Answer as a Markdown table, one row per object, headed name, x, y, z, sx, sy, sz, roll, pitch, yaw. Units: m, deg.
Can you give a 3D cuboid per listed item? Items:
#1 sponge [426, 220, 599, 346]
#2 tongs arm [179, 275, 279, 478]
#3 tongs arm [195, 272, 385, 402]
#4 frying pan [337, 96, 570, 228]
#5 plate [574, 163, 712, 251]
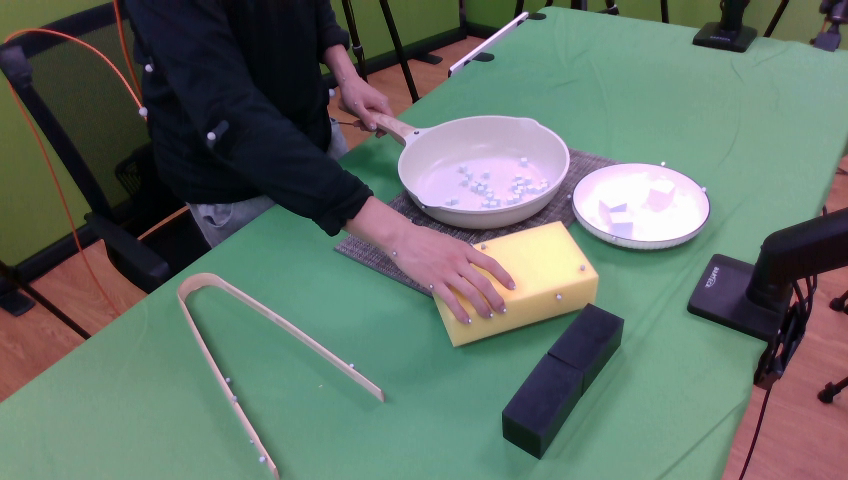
| name | x | y | z | sx | sy | sz | roll | pitch | yaw |
| --- | --- | --- | --- | --- | --- | --- | --- | --- | --- |
| sponge | 0.117 | 0.056 | 0.827 | 0.207 | 0.061 | 0.117 | -15 | 45 | -10 |
| tongs arm | -0.260 | 0.162 | 0.807 | 0.051 | 0.026 | 0.381 | -29 | 44 | -25 |
| tongs arm | -0.198 | 0.125 | 0.847 | 0.384 | 0.028 | 0.028 | 25 | 52 | 32 |
| frying pan | 0.023 | -0.167 | 1.090 | 0.484 | 0.103 | 0.308 | 32 | 52 | 26 |
| plate | 0.345 | -0.050 | 0.966 | 0.207 | 0.039 | 0.206 | -4 | 40 | 4 |
